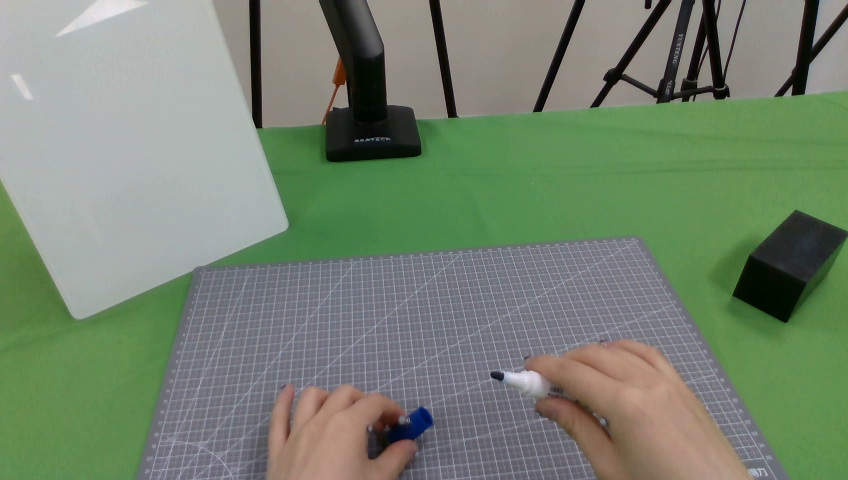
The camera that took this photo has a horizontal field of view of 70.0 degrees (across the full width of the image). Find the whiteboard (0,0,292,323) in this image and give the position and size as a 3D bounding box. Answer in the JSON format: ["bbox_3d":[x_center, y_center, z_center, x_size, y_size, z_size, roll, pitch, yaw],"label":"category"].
[{"bbox_3d":[-0.295,-0.119,0.584,0.217,0.307,0.142,-27,27,-28],"label":"whiteboard"}]

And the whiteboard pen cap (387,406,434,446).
[{"bbox_3d":[-0.009,0.132,0.433,0.033,0.018,0.018,-39,36,19],"label":"whiteboard pen cap"}]

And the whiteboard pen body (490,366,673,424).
[{"bbox_3d":[0.101,0.096,0.378,0.142,0.017,0.017,18,33,-22],"label":"whiteboard pen body"}]
